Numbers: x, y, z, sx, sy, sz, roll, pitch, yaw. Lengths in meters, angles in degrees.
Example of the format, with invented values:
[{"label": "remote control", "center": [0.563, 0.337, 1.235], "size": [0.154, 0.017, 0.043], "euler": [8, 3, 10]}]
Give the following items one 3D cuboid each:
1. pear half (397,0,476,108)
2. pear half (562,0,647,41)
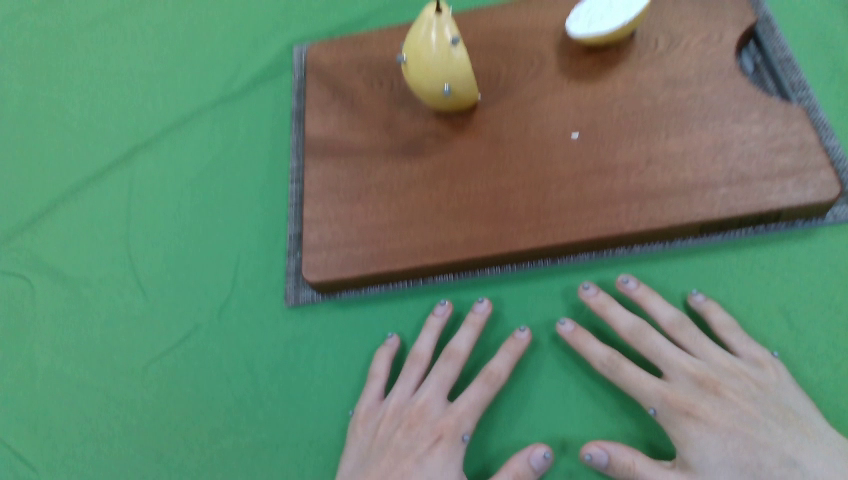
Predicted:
[{"label": "pear half", "center": [0.004, -0.153, 0.483], "size": [0.056, 0.111, 0.075], "euler": [-25, 56, -2]}, {"label": "pear half", "center": [0.157, -0.194, 0.515], "size": [0.070, 0.031, 0.087], "euler": [10, 50, 33]}]
